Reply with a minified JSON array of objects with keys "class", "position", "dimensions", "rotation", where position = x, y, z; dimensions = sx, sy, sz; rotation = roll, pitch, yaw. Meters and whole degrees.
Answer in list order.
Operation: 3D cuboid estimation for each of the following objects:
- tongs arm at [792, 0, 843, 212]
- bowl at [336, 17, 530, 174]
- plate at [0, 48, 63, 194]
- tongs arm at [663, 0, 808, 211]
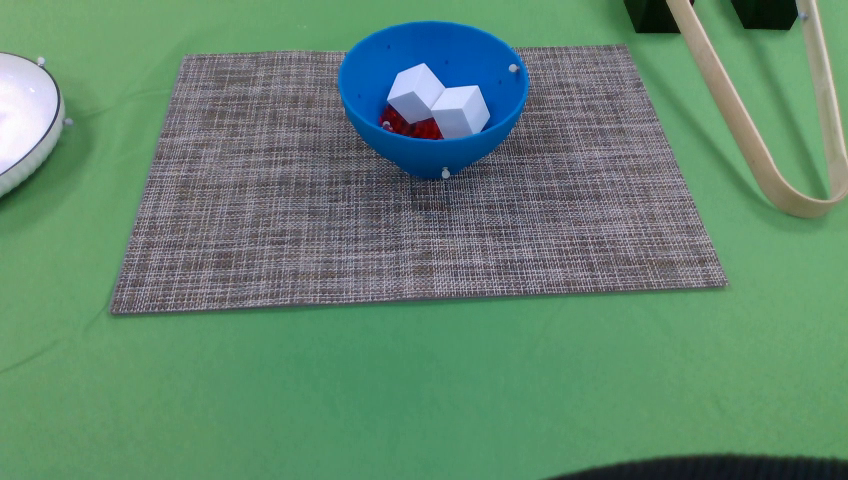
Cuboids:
[{"class":"tongs arm","position":[0.346,-0.198,0.572],"dimensions":[0.051,0.027,0.382],"rotation":[6,65,-1]},{"class":"bowl","position":[0.006,-0.108,0.502],"dimensions":[0.151,0.077,0.150],"rotation":[1,53,-1]},{"class":"plate","position":[-0.410,-0.085,0.505],"dimensions":[0.209,0.038,0.207],"rotation":[1,53,-1]},{"class":"tongs arm","position":[0.257,-0.198,0.569],"dimensions":[0.028,0.028,0.384],"rotation":[-6,65,-11]}]
